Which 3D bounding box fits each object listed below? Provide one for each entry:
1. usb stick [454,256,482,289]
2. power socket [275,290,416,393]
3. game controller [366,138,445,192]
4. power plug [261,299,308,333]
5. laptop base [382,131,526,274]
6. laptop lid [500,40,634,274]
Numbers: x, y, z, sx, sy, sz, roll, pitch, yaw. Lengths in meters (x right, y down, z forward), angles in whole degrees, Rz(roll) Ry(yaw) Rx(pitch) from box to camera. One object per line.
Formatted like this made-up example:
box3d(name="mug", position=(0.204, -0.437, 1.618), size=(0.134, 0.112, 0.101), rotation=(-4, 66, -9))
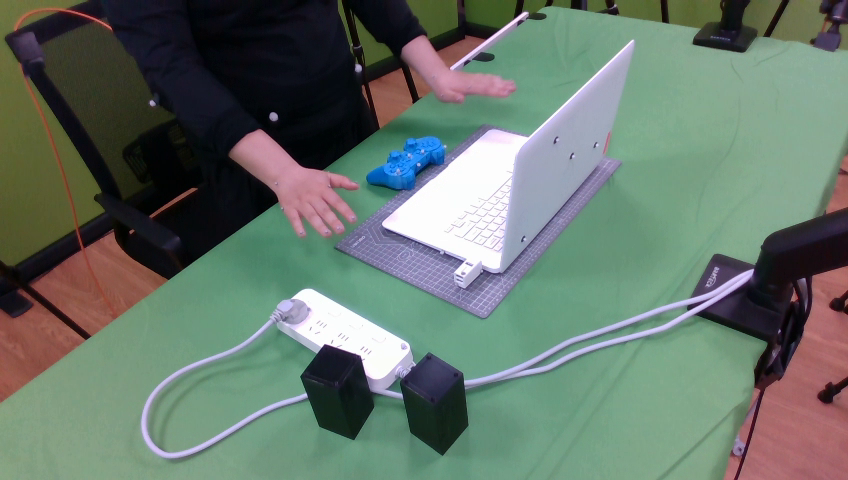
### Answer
box3d(name="usb stick", position=(0.069, 0.044, 0.891), size=(0.021, 0.027, 0.059), rotation=(23, 44, 32))
box3d(name="power socket", position=(-0.114, 0.133, 0.821), size=(0.225, 0.033, 0.072), rotation=(24, 48, 31))
box3d(name="game controller", position=(-0.030, -0.148, 1.128), size=(0.096, 0.052, 0.155), rotation=(25, 50, 29))
box3d(name="power plug", position=(-0.193, 0.109, 0.830), size=(0.073, 0.053, 0.035), rotation=(-36, 48, -23))
box3d(name="laptop base", position=(0.123, -0.081, 1.049), size=(0.233, 0.023, 0.355), rotation=(20, 47, 33))
box3d(name="laptop lid", position=(0.218, -0.128, 0.906), size=(0.013, 0.242, 0.358), rotation=(28, 50, 25))
